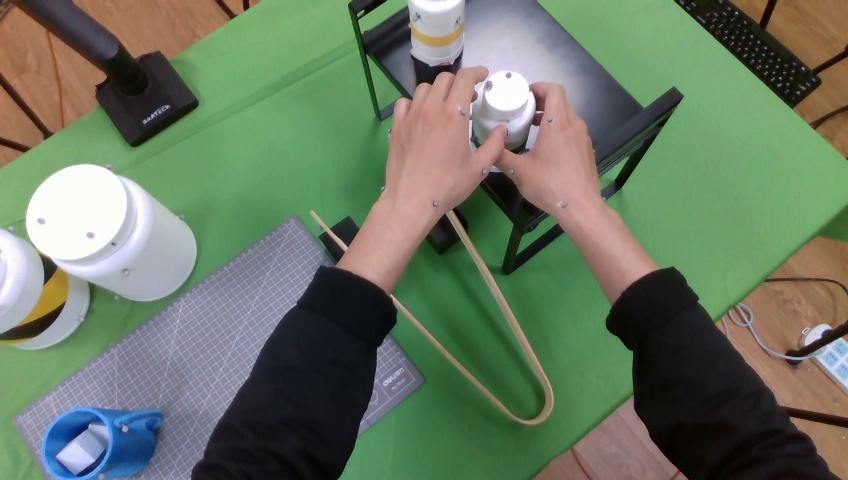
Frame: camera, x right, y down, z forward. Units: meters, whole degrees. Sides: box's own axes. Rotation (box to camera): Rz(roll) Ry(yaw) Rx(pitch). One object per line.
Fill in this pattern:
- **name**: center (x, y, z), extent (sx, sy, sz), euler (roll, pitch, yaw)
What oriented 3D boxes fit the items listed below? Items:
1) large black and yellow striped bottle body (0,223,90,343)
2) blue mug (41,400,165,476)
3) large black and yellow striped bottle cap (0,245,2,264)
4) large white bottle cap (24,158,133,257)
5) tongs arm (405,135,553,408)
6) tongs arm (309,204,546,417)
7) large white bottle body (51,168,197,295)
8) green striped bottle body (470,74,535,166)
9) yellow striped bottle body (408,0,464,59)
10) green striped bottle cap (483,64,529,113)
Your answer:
- **large black and yellow striped bottle body**: center (-0.524, 0.052, 0.746), extent (0.131, 0.185, 0.130), euler (-1, 73, 2)
- **blue mug**: center (-0.371, 0.228, 0.727), extent (0.116, 0.106, 0.082), euler (-30, 74, -7)
- **large black and yellow striped bottle cap**: center (-0.528, 0.025, 0.666), extent (0.115, 0.019, 0.114), euler (0, 74, 0)
- **large white bottle cap**: center (-0.386, -0.037, 0.679), extent (0.115, 0.018, 0.114), euler (0, 73, 2)
- **tongs arm**: center (0.068, 0.035, 0.775), extent (0.028, 0.028, 0.387), euler (-28, 86, -15)
- **tongs arm**: center (0.004, 0.084, 0.761), extent (0.051, 0.026, 0.384), euler (-42, 89, -12)
- **large white bottle body**: center (-0.382, -0.011, 0.760), extent (0.130, 0.185, 0.130), euler (0, 72, 2)
- **green striped bottle body**: center (0.079, -0.129, 0.626), extent (0.063, 0.120, 0.063), euler (-1, 72, 3)
- **yellow striped bottle body**: center (0.013, -0.260, 0.666), extent (0.063, 0.121, 0.062), euler (0, 73, 2)
- **green striped bottle cap**: center (0.078, -0.145, 0.576), extent (0.044, 0.020, 0.044), euler (-1, 75, 3)
